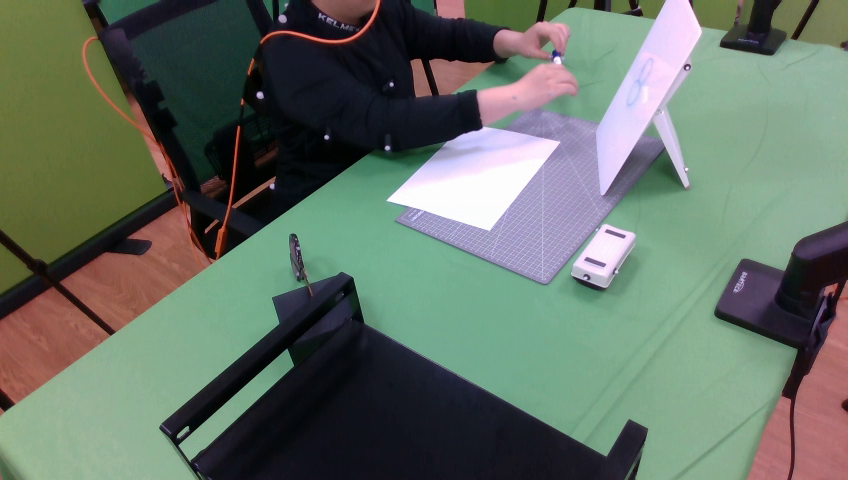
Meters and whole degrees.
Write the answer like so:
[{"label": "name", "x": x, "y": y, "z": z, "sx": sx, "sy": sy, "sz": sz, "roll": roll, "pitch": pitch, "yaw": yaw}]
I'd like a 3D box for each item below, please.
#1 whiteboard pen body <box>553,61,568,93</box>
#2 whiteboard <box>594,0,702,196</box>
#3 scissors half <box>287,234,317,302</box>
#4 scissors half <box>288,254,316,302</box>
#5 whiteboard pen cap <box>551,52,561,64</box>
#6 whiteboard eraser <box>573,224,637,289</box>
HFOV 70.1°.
[{"label": "whiteboard pen body", "x": 0.278, "y": -0.342, "z": 1.246, "sx": 0.017, "sy": 0.017, "sz": 0.140, "roll": -4, "pitch": 43, "yaw": 5}, {"label": "whiteboard", "x": 0.420, "y": -0.227, "z": 1.010, "sx": 0.144, "sy": 0.305, "sz": 0.216, "roll": 18, "pitch": 42, "yaw": -2}, {"label": "scissors half", "x": -0.179, "y": 0.040, "z": 0.884, "sx": 0.013, "sy": 0.040, "sz": 0.173, "roll": -11, "pitch": 36, "yaw": -20}, {"label": "scissors half", "x": -0.178, "y": 0.058, "z": 0.894, "sx": 0.013, "sy": 0.040, "sz": 0.174, "roll": -16, "pitch": 21, "yaw": -17}, {"label": "whiteboard pen cap", "x": 0.282, "y": -0.384, "z": 1.285, "sx": 0.018, "sy": 0.018, "sz": 0.033, "roll": -4, "pitch": 46, "yaw": 5}, {"label": "whiteboard eraser", "x": 0.267, "y": 0.025, "z": 0.890, "sx": 0.055, "sy": 0.042, "sz": 0.113, "roll": 19, "pitch": 47, "yaw": 31}]
